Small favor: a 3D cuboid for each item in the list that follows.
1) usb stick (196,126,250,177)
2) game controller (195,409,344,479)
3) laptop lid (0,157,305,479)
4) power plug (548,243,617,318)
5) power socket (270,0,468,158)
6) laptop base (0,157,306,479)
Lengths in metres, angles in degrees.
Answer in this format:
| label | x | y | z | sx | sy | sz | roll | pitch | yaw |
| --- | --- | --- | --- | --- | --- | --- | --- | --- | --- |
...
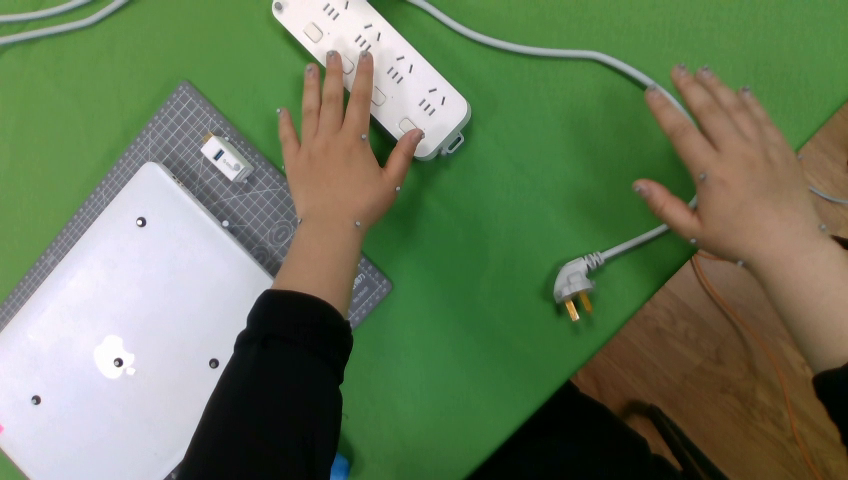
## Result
| label | x | y | z | sx | sy | sz | roll | pitch | yaw |
| --- | --- | --- | --- | --- | --- | --- | --- | --- | --- |
| usb stick | -0.202 | -0.089 | 0.596 | 0.059 | 0.027 | 0.021 | 45 | 100 | 6 |
| game controller | -0.164 | 0.243 | 0.605 | 0.155 | 0.052 | 0.097 | -45 | 81 | 9 |
| laptop lid | -0.315 | 0.119 | 0.622 | 0.357 | 0.013 | 0.241 | -44 | 89 | 9 |
| power plug | 0.146 | 0.036 | 0.545 | 0.072 | 0.035 | 0.052 | -28 | 70 | 21 |
| power socket | -0.052 | -0.171 | 0.567 | 0.072 | 0.032 | 0.226 | -44 | 86 | 10 |
| laptop base | -0.315 | 0.116 | 0.634 | 0.235 | 0.023 | 0.354 | 45 | 99 | 0 |
